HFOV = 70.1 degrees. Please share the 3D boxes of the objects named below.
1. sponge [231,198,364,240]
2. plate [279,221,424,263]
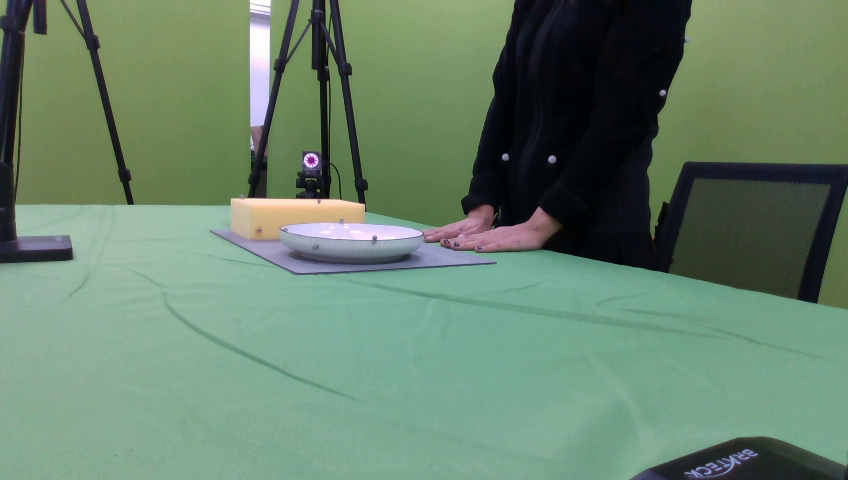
[{"bbox_3d":[-0.223,-0.040,1.071,0.208,0.061,0.117,-3,9,-33],"label":"sponge"},{"bbox_3d":[-0.103,0.003,0.871,0.209,0.038,0.209,2,7,0],"label":"plate"}]
